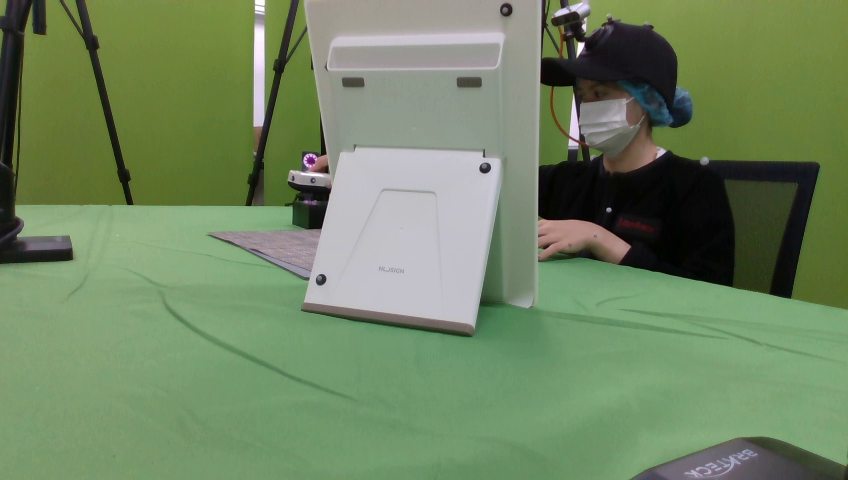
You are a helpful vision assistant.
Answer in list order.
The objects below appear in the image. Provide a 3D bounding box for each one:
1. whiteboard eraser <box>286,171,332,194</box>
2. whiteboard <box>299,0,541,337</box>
[{"bbox_3d":[-0.214,-0.114,1.209,0.113,0.042,0.055,-2,11,-41],"label":"whiteboard eraser"},{"bbox_3d":[-0.021,-0.051,0.523,0.216,0.305,0.144,6,27,20],"label":"whiteboard"}]
